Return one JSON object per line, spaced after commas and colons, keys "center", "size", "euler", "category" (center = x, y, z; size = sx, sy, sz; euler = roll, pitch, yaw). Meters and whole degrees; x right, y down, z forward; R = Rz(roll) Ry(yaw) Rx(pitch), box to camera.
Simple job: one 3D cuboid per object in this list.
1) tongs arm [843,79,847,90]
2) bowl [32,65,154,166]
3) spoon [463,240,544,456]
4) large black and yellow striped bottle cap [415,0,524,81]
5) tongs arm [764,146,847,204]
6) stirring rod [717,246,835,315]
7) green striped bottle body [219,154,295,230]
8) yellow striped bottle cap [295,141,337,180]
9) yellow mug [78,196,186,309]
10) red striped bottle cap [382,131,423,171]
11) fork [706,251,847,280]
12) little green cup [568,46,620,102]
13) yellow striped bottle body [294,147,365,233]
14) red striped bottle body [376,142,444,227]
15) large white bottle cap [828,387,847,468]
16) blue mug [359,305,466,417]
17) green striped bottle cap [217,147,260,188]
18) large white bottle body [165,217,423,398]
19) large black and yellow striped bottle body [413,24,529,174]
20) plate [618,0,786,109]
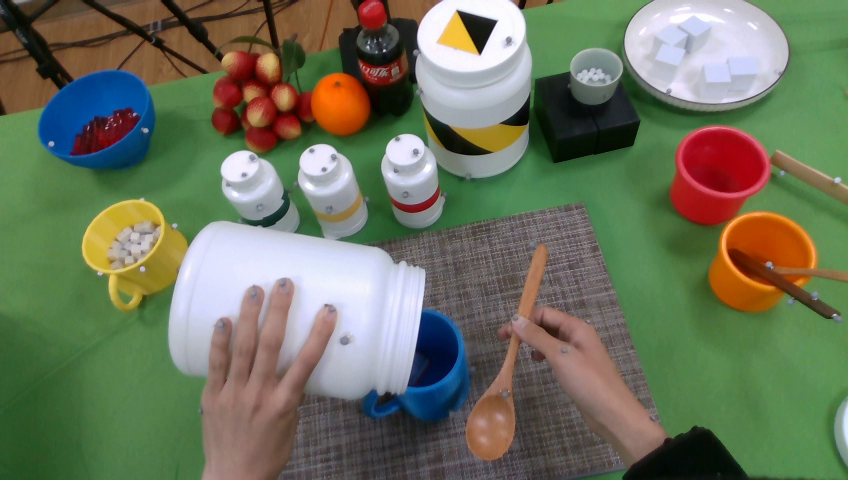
{"center": [0.630, -0.063, 0.677], "size": [0.028, 0.028, 0.384], "euler": [-26, 62, -16], "category": "tongs arm"}
{"center": [-0.430, -0.154, 0.821], "size": [0.151, 0.077, 0.150], "euler": [-2, 61, 5], "category": "bowl"}
{"center": [0.077, 0.091, 0.529], "size": [0.041, 0.022, 0.193], "euler": [16, 83, 13], "category": "spoon"}
{"center": [0.048, -0.219, 0.641], "size": [0.115, 0.019, 0.114], "euler": [-4, 63, 8], "category": "large black and yellow striped bottle cap"}
{"center": [0.561, -0.010, 0.652], "size": [0.382, 0.027, 0.050], "euler": [38, 68, 22], "category": "tongs arm"}
{"center": [0.339, 0.036, 0.596], "size": [0.014, 0.006, 0.175], "euler": [-8, 18, -1], "category": "stirring rod"}
{"center": [-0.198, -0.055, 0.717], "size": [0.063, 0.120, 0.062], "euler": [-2, 61, 5], "category": "green striped bottle body"}
{"center": [-0.119, -0.088, 0.665], "size": [0.044, 0.019, 0.044], "euler": [-1, 57, 2], "category": "yellow striped bottle cap"}
{"center": [-0.351, 0.019, 0.725], "size": [0.100, 0.064, 0.129], "euler": [-2, 62, 5], "category": "yellow mug"}
{"center": [-0.023, -0.098, 0.659], "size": [0.044, 0.018, 0.044], "euler": [-1, 60, 2], "category": "red striped bottle cap"}
{"center": [0.369, 0.030, 0.588], "size": [0.028, 0.019, 0.206], "euler": [-47, 22, -17], "category": "fork"}
{"center": [0.204, -0.200, 0.737], "size": [0.061, 0.039, 0.061], "euler": [-2, 59, 4], "category": "little green cup"}
{"center": [-0.112, -0.063, 0.710], "size": [0.063, 0.121, 0.062], "euler": [-3, 61, 6], "category": "yellow striped bottle body"}
{"center": [-0.016, -0.071, 0.705], "size": [0.063, 0.121, 0.062], "euler": [-6, 58, 10], "category": "red striped bottle body"}
{"center": [0.447, 0.185, 0.570], "size": [0.115, 0.018, 0.114], "euler": [-3, 61, 5], "category": "large white bottle cap"}
{"center": [-0.014, 0.132, 0.597], "size": [0.116, 0.107, 0.081], "euler": [-37, 63, -13], "category": "blue mug"}
{"center": [-0.205, -0.081, 0.671], "size": [0.044, 0.020, 0.044], "euler": [-2, 61, 4], "category": "green striped bottle cap"}
{"center": [-0.100, 0.059, 0.507], "size": [0.185, 0.131, 0.129], "euler": [11, 62, -4], "category": "large white bottle body"}
{"center": [0.057, -0.179, 0.717], "size": [0.130, 0.185, 0.129], "euler": [-3, 61, 5], "category": "large black and yellow striped bottle body"}
{"center": [0.363, -0.252, 0.805], "size": [0.209, 0.038, 0.207], "euler": [-3, 62, 5], "category": "plate"}
